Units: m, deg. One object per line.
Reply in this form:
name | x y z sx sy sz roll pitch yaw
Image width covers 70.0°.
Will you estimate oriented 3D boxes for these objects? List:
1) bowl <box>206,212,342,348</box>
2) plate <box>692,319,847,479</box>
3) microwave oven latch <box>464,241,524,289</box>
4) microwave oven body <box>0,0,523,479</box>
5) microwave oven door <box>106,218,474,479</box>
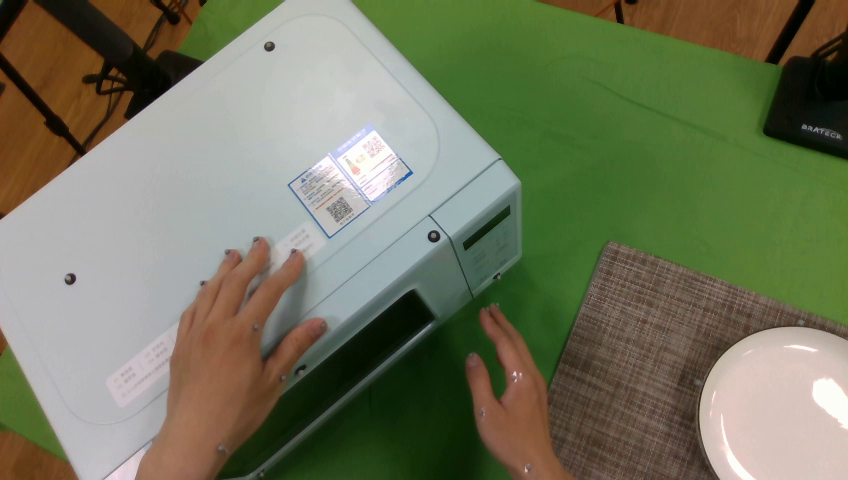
bowl | -0.155 0.053 0.676 0.151 0.077 0.150 -3 69 9
plate | 0.385 0.187 0.628 0.207 0.039 0.206 -2 73 8
microwave oven latch | 0.081 0.021 0.711 0.079 0.030 0.030 -38 72 -2
microwave oven body | -0.163 0.001 0.654 0.441 0.262 0.324 -40 72 -3
microwave oven door | -0.106 0.130 0.602 0.356 0.245 0.039 -40 71 -4
